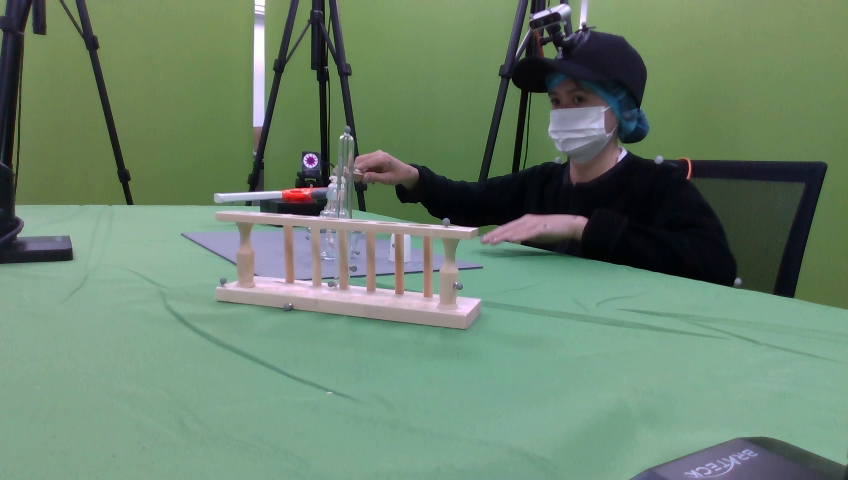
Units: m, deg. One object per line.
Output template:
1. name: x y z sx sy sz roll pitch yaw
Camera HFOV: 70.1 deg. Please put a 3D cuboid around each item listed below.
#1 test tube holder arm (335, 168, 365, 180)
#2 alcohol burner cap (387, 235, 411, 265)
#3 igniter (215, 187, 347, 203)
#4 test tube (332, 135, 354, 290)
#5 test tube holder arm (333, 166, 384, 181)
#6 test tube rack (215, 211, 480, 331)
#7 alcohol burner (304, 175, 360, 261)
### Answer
1. test tube holder arm: -0.134 -0.119 1.098 0.010 0.015 0.088 52 18 13
2. alcohol burner cap: -0.035 0.009 0.839 0.034 0.048 0.034 2 6 0
3. igniter: -0.293 -0.095 1.267 0.278 0.025 0.057 -6 12 -34
4. test tube: -0.078 -0.025 0.581 0.017 0.150 0.017 3 7 0
5. test tube holder arm: -0.120 -0.125 1.141 0.013 0.015 0.179 52 18 12
6. test tube rack: -0.071 0.022 0.565 0.242 0.085 0.067 5 7 16
7. alcohol burner: -0.126 -0.031 0.838 0.078 0.119 0.078 3 5 0
